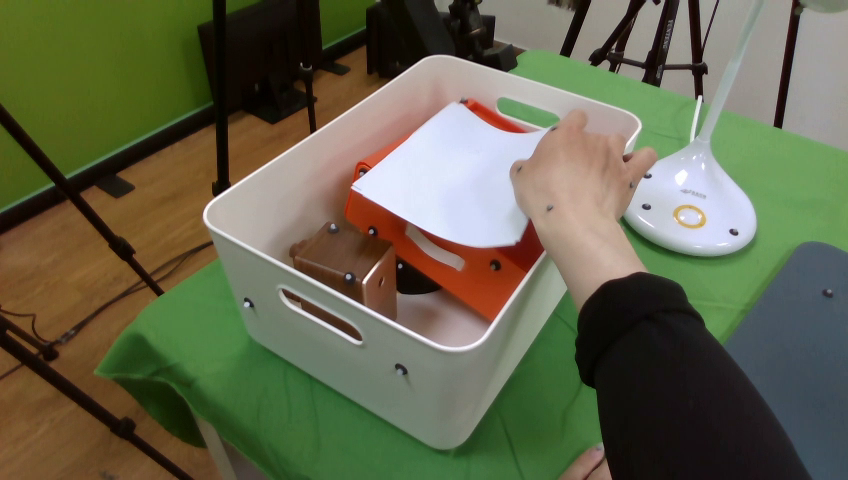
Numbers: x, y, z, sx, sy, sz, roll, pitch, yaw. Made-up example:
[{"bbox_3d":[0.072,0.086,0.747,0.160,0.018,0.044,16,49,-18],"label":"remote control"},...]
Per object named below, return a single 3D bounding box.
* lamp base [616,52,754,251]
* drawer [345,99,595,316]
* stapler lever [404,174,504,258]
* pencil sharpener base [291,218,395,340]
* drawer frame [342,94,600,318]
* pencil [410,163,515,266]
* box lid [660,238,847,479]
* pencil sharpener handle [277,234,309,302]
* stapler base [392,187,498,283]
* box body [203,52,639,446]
[{"bbox_3d":[0.319,-0.108,0.691,0.160,0.182,0.178,10,41,8],"label":"lamp base"},{"bbox_3d":[0.060,-0.041,0.617,0.193,0.073,0.211,34,42,12],"label":"drawer"},{"bbox_3d":[0.029,-0.029,0.584,0.027,0.040,0.117,-22,58,-41],"label":"stapler lever"},{"bbox_3d":[-0.074,0.043,0.558,0.076,0.108,0.061,18,46,17],"label":"pencil sharpener base"},{"bbox_3d":[0.060,-0.044,0.620,0.201,0.083,0.213,33,41,12],"label":"drawer frame"},{"bbox_3d":[0.035,-0.030,0.624,0.012,0.012,0.192,-21,45,-23],"label":"pencil"},{"bbox_3d":[0.411,0.141,0.553,0.261,0.015,0.371,33,51,30],"label":"box lid"},{"bbox_3d":[-0.123,0.022,0.557,0.030,0.068,0.036,18,13,18],"label":"pencil sharpener handle"},{"bbox_3d":[0.023,-0.012,0.600,0.041,0.024,0.129,-21,57,-41],"label":"stapler base"},{"bbox_3d":[0.016,-0.016,0.593,0.252,0.162,0.363,25,48,22],"label":"box body"}]
